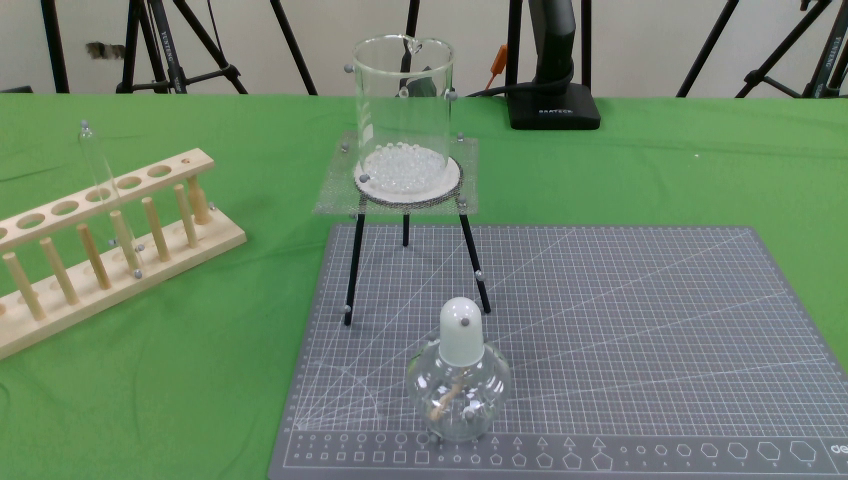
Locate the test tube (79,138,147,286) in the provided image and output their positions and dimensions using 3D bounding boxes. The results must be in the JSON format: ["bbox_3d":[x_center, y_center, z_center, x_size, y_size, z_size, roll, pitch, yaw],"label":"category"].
[{"bbox_3d":[-0.271,-0.021,0.533,0.017,0.151,0.017,0,37,0],"label":"test tube"}]

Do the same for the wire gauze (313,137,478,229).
[{"bbox_3d":[-0.017,-0.048,0.486,0.121,0.011,0.124,2,40,3],"label":"wire gauze"}]

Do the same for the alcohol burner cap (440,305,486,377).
[{"bbox_3d":[0.026,0.065,0.406,0.034,0.048,0.033,-2,38,2],"label":"alcohol burner cap"}]

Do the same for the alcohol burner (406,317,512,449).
[{"bbox_3d":[0.025,0.093,0.428,0.078,0.120,0.077,0,40,0],"label":"alcohol burner"}]

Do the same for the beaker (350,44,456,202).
[{"bbox_3d":[-0.015,-0.088,0.458,0.074,0.101,0.083,8,38,7],"label":"beaker"}]

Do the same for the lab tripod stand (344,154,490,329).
[{"bbox_3d":[-0.008,0.003,0.528,0.148,0.132,0.147,1,37,0],"label":"lab tripod stand"}]

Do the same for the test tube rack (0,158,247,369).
[{"bbox_3d":[-0.296,0.014,0.562,0.242,0.086,0.066,-30,46,-32],"label":"test tube rack"}]
